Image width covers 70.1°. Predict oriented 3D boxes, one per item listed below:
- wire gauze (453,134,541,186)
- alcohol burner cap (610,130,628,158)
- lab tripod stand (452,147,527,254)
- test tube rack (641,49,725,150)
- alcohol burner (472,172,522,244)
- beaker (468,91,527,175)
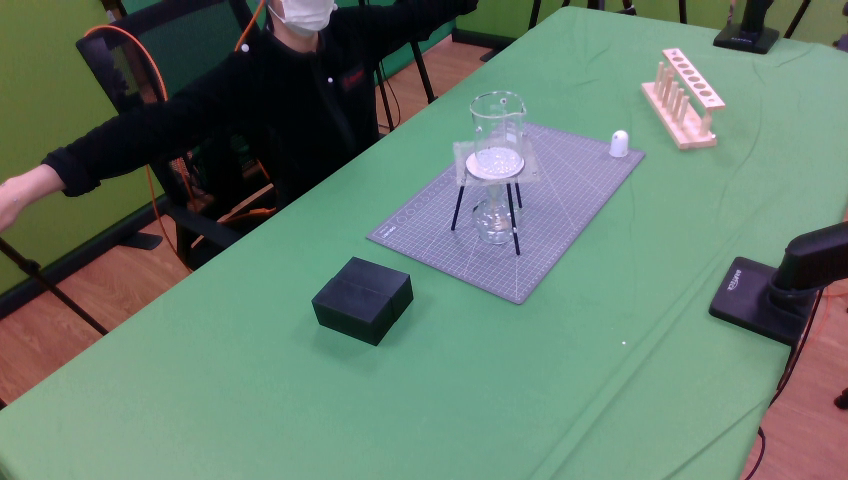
[{"bbox_3d":[0.106,-0.118,0.903,0.125,0.011,0.121,-6,39,7],"label":"wire gauze"},{"bbox_3d":[0.359,-0.177,1.106,0.034,0.048,0.033,-5,41,5],"label":"alcohol burner cap"},{"bbox_3d":[0.111,-0.066,0.943,0.148,0.132,0.147,-5,42,5],"label":"lab tripod stand"},{"bbox_3d":[0.495,-0.279,1.175,0.067,0.085,0.241,-5,41,3],"label":"test tube rack"},{"bbox_3d":[0.112,-0.053,0.942,0.078,0.119,0.077,-6,40,5],"label":"alcohol burner"},{"bbox_3d":[0.108,-0.151,0.865,0.083,0.101,0.074,16,47,26],"label":"beaker"}]
